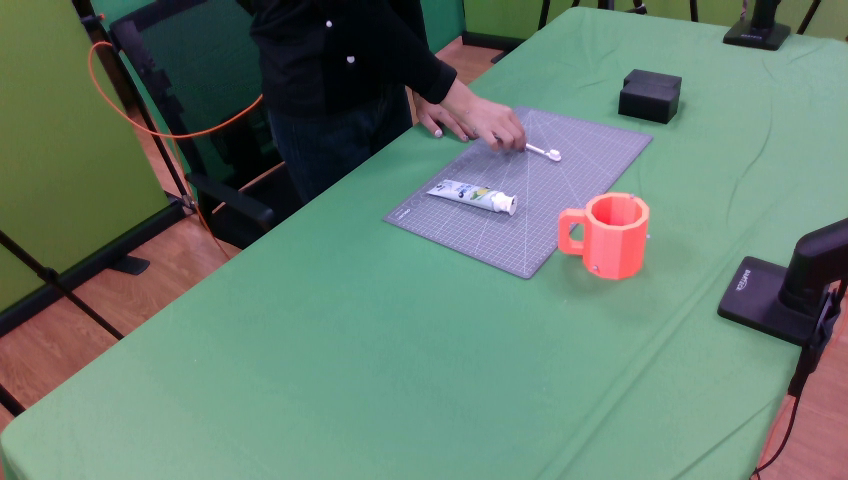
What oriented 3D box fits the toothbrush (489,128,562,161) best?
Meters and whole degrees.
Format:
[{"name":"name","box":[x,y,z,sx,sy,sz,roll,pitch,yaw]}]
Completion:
[{"name":"toothbrush","box":[0.192,-0.189,1.167,0.014,0.017,0.180,-40,47,-22]}]

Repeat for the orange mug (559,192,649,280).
[{"name":"orange mug","box":[0.261,-0.008,0.884,0.126,0.101,0.083,9,43,14]}]

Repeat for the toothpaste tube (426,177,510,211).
[{"name":"toothpaste tube","box":[0.083,-0.082,1.054,0.164,0.034,0.055,18,40,34]}]

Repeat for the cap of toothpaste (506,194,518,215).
[{"name":"cap of toothpaste","box":[0.146,-0.060,1.007,0.011,0.037,0.037,14,46,22]}]
